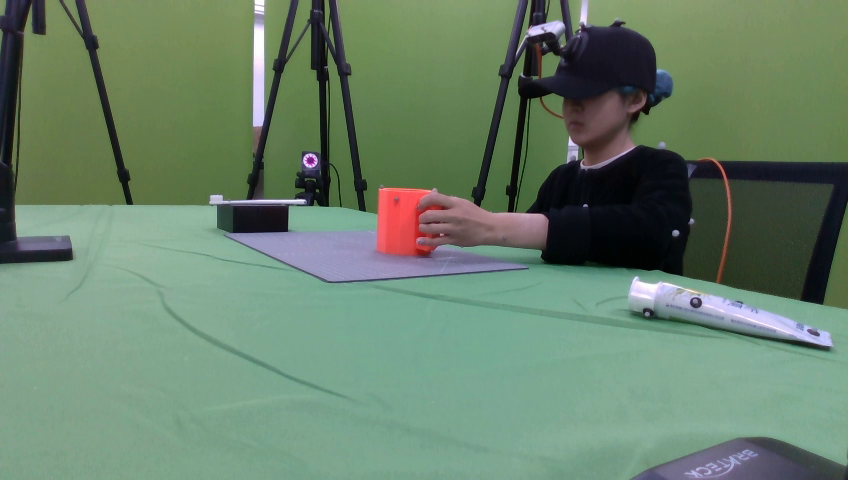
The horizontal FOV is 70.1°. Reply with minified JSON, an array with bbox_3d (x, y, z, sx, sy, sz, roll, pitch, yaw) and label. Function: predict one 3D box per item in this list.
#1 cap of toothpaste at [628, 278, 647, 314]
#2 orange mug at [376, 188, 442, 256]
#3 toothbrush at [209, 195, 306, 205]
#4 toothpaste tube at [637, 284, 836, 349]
[{"bbox_3d":[0.209,0.055,0.589,0.011,0.037,0.037,11,11,28],"label":"cap of toothpaste"},{"bbox_3d":[-0.018,-0.028,0.914,0.084,0.100,0.125,-2,5,-38],"label":"orange mug"},{"bbox_3d":[-0.303,-0.073,1.117,0.183,0.016,0.014,-2,5,-36],"label":"toothbrush"},{"bbox_3d":[0.275,0.070,0.550,0.164,0.034,0.055,11,15,28],"label":"toothpaste tube"}]
